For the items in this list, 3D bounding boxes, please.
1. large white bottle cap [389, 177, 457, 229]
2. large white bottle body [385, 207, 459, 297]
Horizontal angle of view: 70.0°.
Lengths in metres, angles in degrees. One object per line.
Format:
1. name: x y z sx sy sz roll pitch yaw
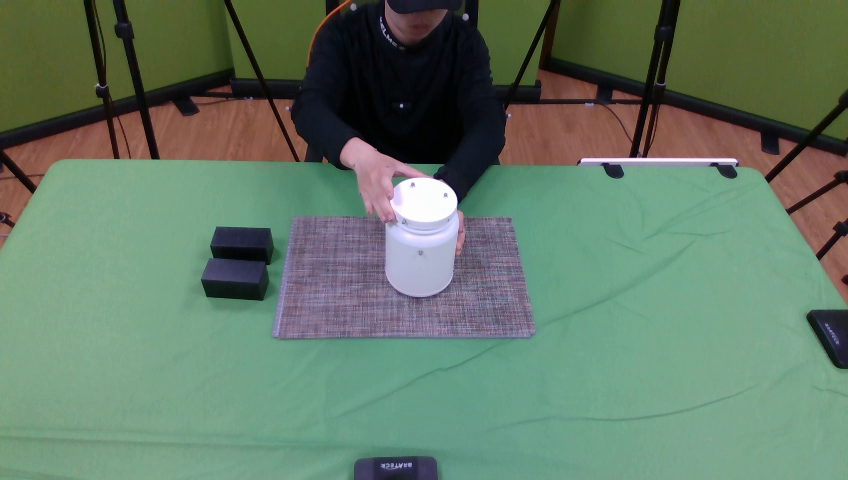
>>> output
1. large white bottle cap: -0.001 -0.064 1.018 0.115 0.018 0.114 3 46 -3
2. large white bottle body: -0.006 -0.002 1.081 0.131 0.185 0.130 2 46 -2
